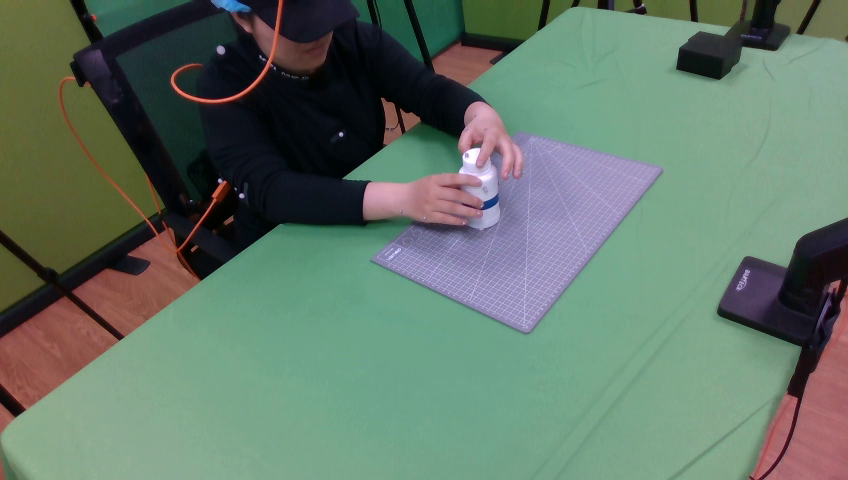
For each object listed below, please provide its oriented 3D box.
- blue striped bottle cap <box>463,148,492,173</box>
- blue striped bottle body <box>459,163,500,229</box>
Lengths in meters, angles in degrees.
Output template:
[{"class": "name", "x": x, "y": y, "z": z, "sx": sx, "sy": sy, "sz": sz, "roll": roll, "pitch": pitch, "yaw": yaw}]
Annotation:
[{"class": "blue striped bottle cap", "x": 0.083, "y": -0.125, "z": 0.946, "sx": 0.044, "sy": 0.021, "sz": 0.044, "roll": -7, "pitch": 39, "yaw": 6}, {"class": "blue striped bottle body", "x": 0.091, "y": -0.083, "z": 0.983, "sx": 0.063, "sy": 0.121, "sz": 0.063, "roll": -5, "pitch": 40, "yaw": 5}]
